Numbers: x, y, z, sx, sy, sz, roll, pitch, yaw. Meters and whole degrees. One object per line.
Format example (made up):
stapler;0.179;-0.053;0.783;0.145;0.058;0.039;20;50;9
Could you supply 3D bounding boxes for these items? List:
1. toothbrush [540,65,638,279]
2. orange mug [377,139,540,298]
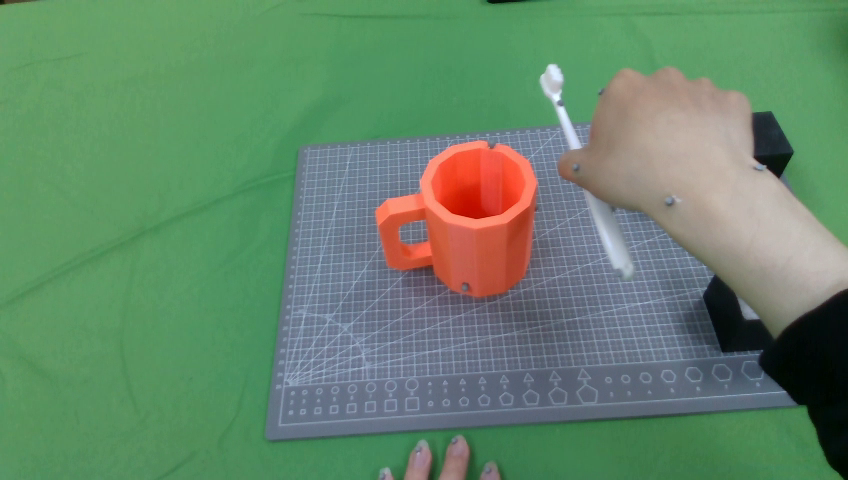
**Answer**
toothbrush;0.112;-0.054;0.417;0.014;0.017;0.180;-2;58;-17
orange mug;0.028;-0.013;0.479;0.126;0.102;0.082;-9;54;-6
